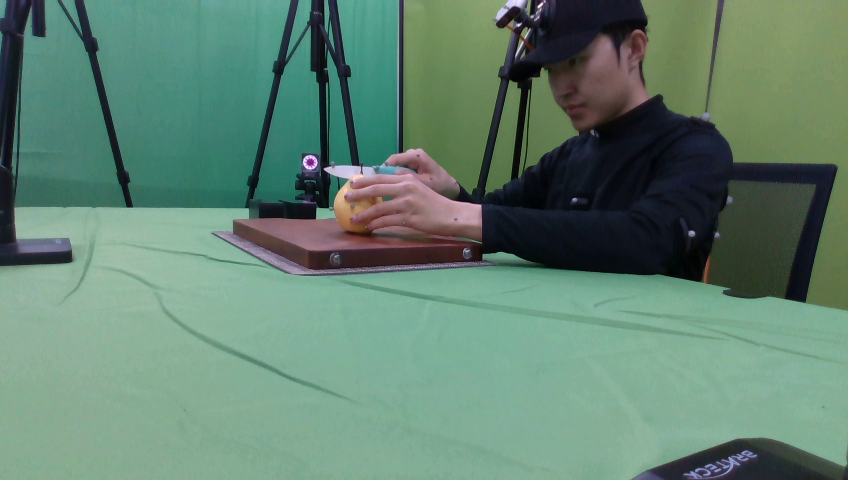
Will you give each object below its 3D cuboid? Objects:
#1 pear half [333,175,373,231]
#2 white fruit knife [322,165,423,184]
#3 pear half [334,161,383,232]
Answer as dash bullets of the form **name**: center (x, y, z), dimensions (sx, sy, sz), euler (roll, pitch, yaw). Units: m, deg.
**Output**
- **pear half**: center (-0.117, -0.059, 0.957), dimensions (0.071, 0.088, 0.031), euler (-9, 12, -43)
- **white fruit knife**: center (-0.077, -0.108, 0.967), dimensions (0.016, 0.027, 0.208), euler (7, 6, 45)
- **pear half**: center (-0.093, -0.066, 0.928), dimensions (0.077, 0.110, 0.055), euler (-7, 14, -43)
